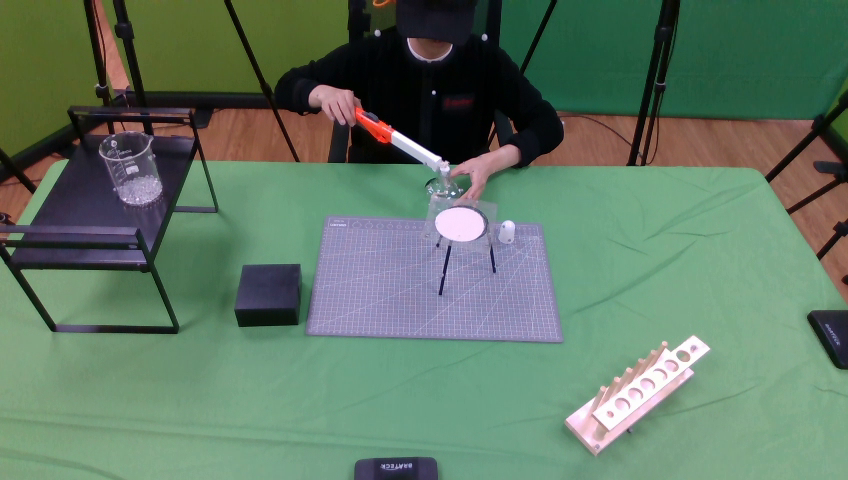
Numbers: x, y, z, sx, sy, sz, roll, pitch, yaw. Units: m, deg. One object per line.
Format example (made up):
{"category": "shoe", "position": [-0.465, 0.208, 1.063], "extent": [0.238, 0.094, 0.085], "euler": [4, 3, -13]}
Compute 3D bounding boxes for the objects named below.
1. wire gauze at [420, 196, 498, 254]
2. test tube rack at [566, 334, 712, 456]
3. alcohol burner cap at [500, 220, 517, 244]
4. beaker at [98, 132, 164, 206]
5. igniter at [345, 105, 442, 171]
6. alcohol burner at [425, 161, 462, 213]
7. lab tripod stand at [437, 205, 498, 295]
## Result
{"category": "wire gauze", "position": [0.062, -0.032, 1.054], "extent": [0.125, 0.011, 0.121], "euler": [9, 46, 8]}
{"category": "test tube rack", "position": [0.339, 0.228, 0.950], "extent": [0.242, 0.085, 0.066], "euler": [-27, 52, -26]}
{"category": "alcohol burner cap", "position": [0.170, -0.018, 1.205], "extent": [0.034, 0.048, 0.033], "euler": [1, 46, 0]}
{"category": "beaker", "position": [-0.460, -0.112, 0.968], "extent": [0.073, 0.101, 0.084], "euler": [37, 54, 28]}
{"category": "igniter", "position": [-0.070, -0.221, 1.278], "extent": [0.275, 0.057, 0.025], "euler": [34, 56, 26]}
{"category": "alcohol burner", "position": [0.042, -0.115, 1.245], "extent": [0.078, 0.119, 0.077], "euler": [3, 45, -3]}
{"category": "lab tripod stand", "position": [0.066, 0.010, 1.107], "extent": [0.148, 0.132, 0.147], "euler": [0, 46, 0]}
